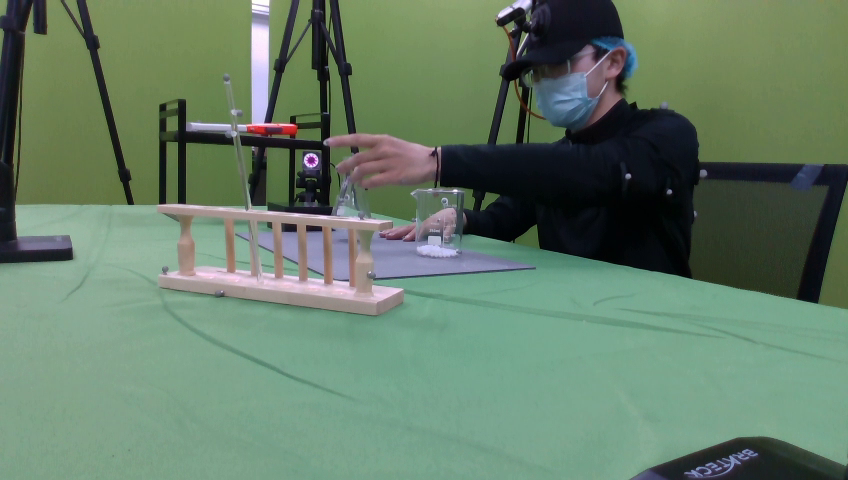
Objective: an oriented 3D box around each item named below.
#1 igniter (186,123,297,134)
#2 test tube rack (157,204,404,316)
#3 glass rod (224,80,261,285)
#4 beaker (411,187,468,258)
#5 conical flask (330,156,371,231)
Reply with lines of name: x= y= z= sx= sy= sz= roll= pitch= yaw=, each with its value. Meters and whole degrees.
igniter: x=-0.392 y=-0.247 z=1.341 sx=0.057 sy=0.025 sz=0.278 roll=9 pitch=14 yaw=38
test tube rack: x=-0.143 y=0.013 z=0.598 sx=0.242 sy=0.085 sz=0.067 roll=5 pitch=8 yaw=19
glass rod: x=-0.174 y=-0.052 z=0.582 sx=0.008 sy=0.199 sz=0.008 roll=-7 pitch=7 yaw=1
beaker: x=0.021 y=-0.027 z=0.892 sx=0.084 sy=0.100 sz=0.074 roll=1 pitch=7 yaw=-1
conical flask: x=-0.121 y=-0.079 z=1.011 sx=0.075 sy=0.122 sz=0.075 roll=3 pitch=9 yaw=0
